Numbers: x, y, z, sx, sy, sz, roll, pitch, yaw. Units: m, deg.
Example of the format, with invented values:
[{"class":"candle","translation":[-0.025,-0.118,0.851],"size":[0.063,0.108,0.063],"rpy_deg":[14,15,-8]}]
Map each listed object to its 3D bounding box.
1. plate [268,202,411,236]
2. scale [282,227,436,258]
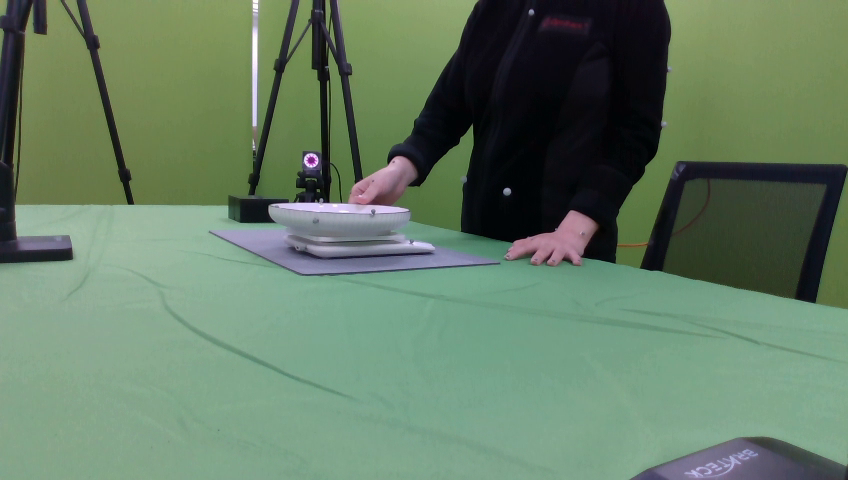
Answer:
[{"class":"plate","translation":[-0.123,-0.032,0.894],"size":[0.209,0.038,0.209],"rpy_deg":[2,7,0]},{"class":"scale","translation":[-0.098,0.000,0.914],"size":[0.202,0.031,0.148],"rpy_deg":[-2,9,-34]}]
